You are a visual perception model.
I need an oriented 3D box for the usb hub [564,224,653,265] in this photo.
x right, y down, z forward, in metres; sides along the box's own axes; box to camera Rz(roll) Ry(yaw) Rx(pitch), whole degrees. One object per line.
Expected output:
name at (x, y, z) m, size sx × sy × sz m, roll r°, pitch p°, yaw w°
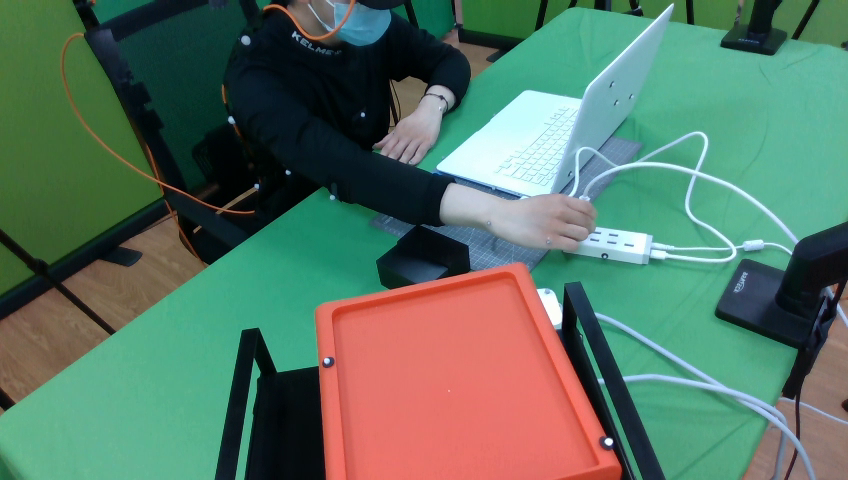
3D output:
usb hub at (0.281, 0.005, 0.924) m, size 0.124 × 0.025 × 0.049 m, roll 10°, pitch 43°, yaw 19°

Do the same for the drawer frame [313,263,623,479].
drawer frame at (0.021, 0.130, 0.494) m, size 0.202 × 0.083 × 0.212 m, roll -11°, pitch 41°, yaw -6°

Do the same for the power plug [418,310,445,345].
power plug at (0.008, 0.123, 0.786) m, size 0.035 × 0.053 × 0.072 m, roll 0°, pitch 39°, yaw 7°

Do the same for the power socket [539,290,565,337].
power socket at (0.081, 0.112, 0.822) m, size 0.227 × 0.033 × 0.072 m, roll -6°, pitch 41°, yaw 0°

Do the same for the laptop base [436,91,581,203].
laptop base at (0.215, -0.192, 1.172) m, size 0.233 × 0.023 × 0.355 m, roll 19°, pitch 46°, yaw 32°

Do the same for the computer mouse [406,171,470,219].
computer mouse at (0.024, -0.082, 1.049) m, size 0.063 × 0.041 × 0.116 m, roll -29°, pitch 49°, yaw -28°

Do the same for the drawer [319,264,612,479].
drawer at (0.020, 0.129, 0.497) m, size 0.195 × 0.073 × 0.210 m, roll -11°, pitch 41°, yaw -5°

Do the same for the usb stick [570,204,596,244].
usb stick at (0.236, -0.022, 0.909) m, size 0.021 × 0.059 × 0.027 m, roll 6°, pitch 28°, yaw -12°

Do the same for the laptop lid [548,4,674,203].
laptop lid at (0.321, -0.234, 1.026) m, size 0.013 × 0.242 × 0.357 m, roll 31°, pitch 50°, yaw 20°
